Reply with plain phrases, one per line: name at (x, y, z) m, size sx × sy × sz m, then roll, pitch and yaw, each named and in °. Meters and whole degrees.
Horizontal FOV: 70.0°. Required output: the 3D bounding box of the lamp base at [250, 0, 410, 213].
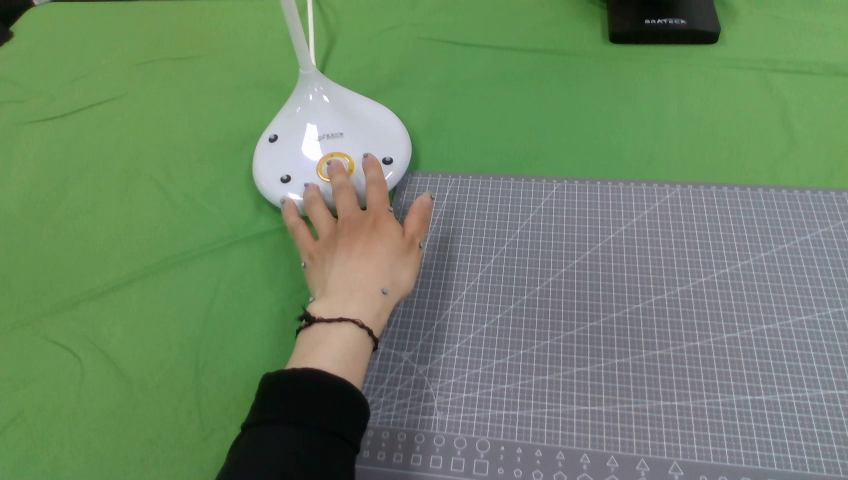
lamp base at (-0.107, -0.145, 0.554) m, size 0.161 × 0.182 × 0.177 m, roll -21°, pitch 50°, yaw -9°
